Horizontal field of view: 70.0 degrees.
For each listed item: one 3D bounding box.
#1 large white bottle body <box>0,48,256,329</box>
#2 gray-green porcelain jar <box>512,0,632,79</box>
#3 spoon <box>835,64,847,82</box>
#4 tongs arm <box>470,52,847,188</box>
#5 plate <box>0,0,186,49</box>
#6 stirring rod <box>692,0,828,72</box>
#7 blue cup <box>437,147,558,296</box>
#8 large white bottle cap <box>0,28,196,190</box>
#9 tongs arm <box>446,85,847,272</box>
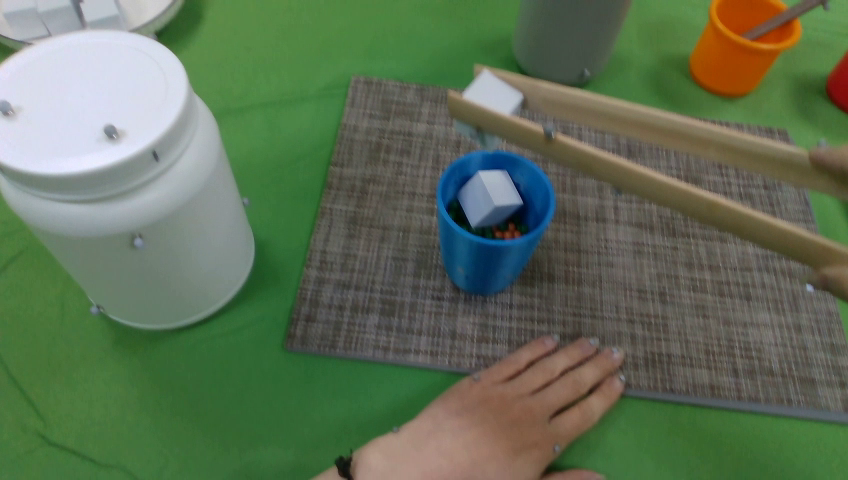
[{"bbox_3d":[-0.196,-0.032,0.416,0.131,0.186,0.129,2,58,-3],"label":"large white bottle body"},{"bbox_3d":[0.146,-0.228,0.603,0.106,0.127,0.105,2,58,-3],"label":"gray-green porcelain jar"},{"bbox_3d":[0.504,-0.169,0.586,0.041,0.022,0.192,-32,21,-21],"label":"spoon"},{"bbox_3d":[0.194,-0.040,0.326,0.385,0.028,0.028,24,61,22],"label":"tongs arm"},{"bbox_3d":[-0.348,-0.259,0.631,0.208,0.039,0.205,2,58,-3],"label":"plate"},{"bbox_3d":[0.358,-0.221,0.610,0.176,0.006,0.014,-28,57,28],"label":"stirring rod"},{"bbox_3d":[0.050,-0.005,0.466,0.093,0.101,0.092,1,58,-1],"label":"blue cup"},{"bbox_3d":[-0.191,-0.078,0.345,0.115,0.018,0.114,2,58,-3],"label":"large white bottle cap"},{"bbox_3d":[0.182,-0.023,0.317,0.382,0.027,0.050,29,67,24],"label":"tongs arm"}]
